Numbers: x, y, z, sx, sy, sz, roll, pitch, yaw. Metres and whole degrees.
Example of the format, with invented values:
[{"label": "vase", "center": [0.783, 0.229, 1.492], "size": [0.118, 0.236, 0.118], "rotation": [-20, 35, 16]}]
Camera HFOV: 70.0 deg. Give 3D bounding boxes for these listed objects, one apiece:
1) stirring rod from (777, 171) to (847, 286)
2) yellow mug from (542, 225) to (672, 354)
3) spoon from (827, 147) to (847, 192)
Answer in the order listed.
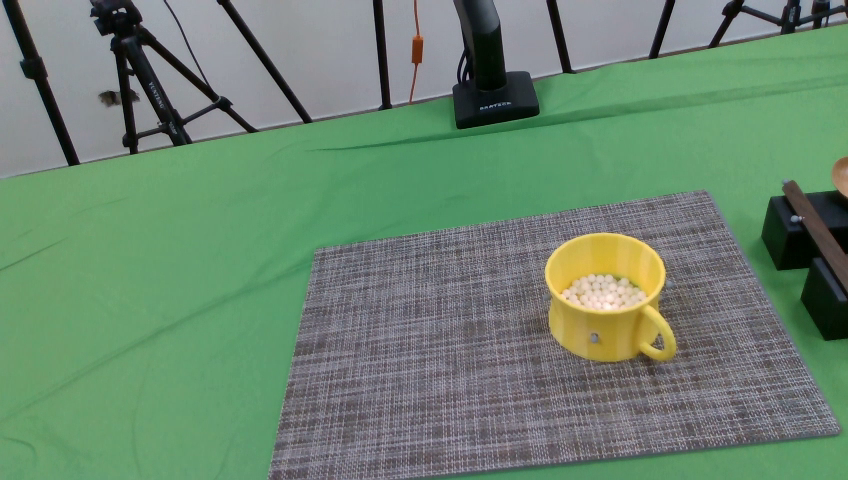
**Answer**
[{"label": "stirring rod", "center": [0.338, -0.004, 0.512], "size": [0.014, 0.006, 0.174], "rotation": [-40, 30, 32]}, {"label": "yellow mug", "center": [0.167, 0.050, 0.534], "size": [0.100, 0.064, 0.129], "rotation": [-30, 44, -16]}, {"label": "spoon", "center": [0.394, -0.012, 0.503], "size": [0.041, 0.022, 0.191], "rotation": [-8, 44, 6]}]
